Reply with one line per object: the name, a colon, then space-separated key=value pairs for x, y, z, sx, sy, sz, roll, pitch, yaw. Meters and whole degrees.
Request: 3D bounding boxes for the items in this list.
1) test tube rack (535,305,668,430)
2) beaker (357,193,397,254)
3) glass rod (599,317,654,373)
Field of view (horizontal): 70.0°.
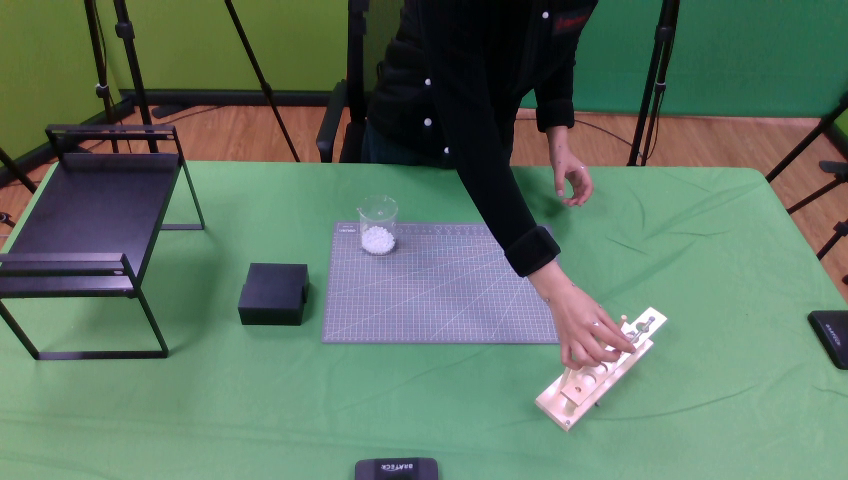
test tube rack: x=0.290 y=0.193 z=0.984 sx=0.242 sy=0.085 sz=0.066 roll=-32 pitch=56 yaw=-30
beaker: x=-0.088 y=-0.030 z=1.159 sx=0.074 sy=0.101 sz=0.083 roll=14 pitch=46 yaw=9
glass rod: x=0.300 y=0.167 z=0.917 sx=0.008 sy=0.200 sz=0.008 roll=6 pitch=53 yaw=-7
